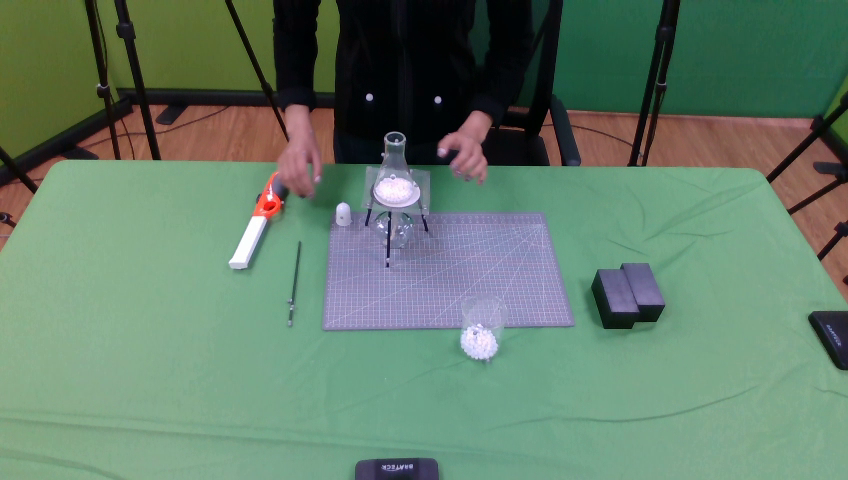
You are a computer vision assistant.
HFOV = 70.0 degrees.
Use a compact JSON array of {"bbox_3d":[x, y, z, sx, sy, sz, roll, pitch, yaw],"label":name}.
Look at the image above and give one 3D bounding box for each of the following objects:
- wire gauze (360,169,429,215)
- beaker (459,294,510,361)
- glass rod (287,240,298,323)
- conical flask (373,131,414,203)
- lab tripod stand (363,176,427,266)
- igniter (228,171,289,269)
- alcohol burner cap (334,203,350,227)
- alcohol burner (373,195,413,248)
[{"bbox_3d":[-0.052,-0.092,1.111,0.125,0.011,0.120,3,43,1],"label":"wire gauze"},{"bbox_3d":[0.095,0.147,1.012,0.083,0.101,0.074,26,49,21],"label":"beaker"},{"bbox_3d":[-0.242,0.072,1.119,0.008,0.008,0.198,-1,47,-5],"label":"glass rod"},{"bbox_3d":[-0.053,-0.131,1.066,0.075,0.122,0.075,2,44,-2],"label":"conical flask"},{"bbox_3d":[-0.058,-0.047,1.159,0.148,0.132,0.147,3,44,-2],"label":"lab tripod stand"},{"bbox_3d":[-0.328,-0.049,1.218,0.057,0.025,0.275,1,45,11],"label":"igniter"},{"bbox_3d":[-0.166,-0.054,1.221,0.034,0.048,0.033,2,46,-2],"label":"alcohol burner cap"},{"bbox_3d":[-0.059,-0.041,1.167,0.078,0.119,0.077,4,46,-4],"label":"alcohol burner"}]
